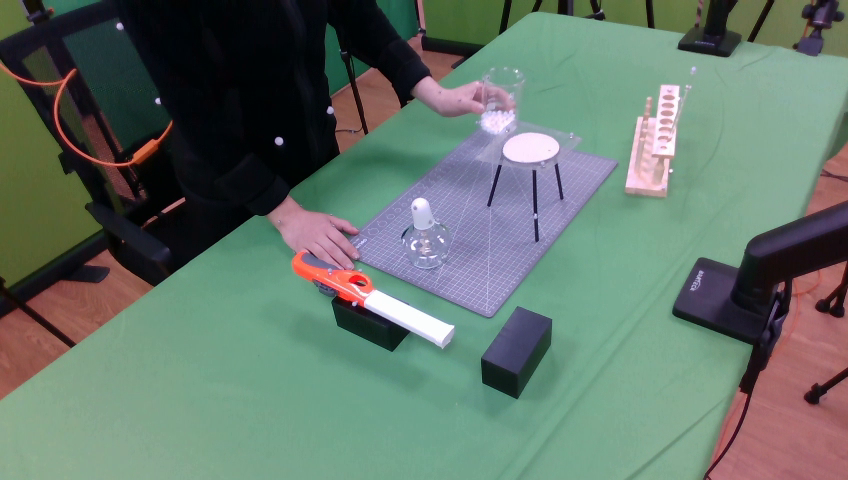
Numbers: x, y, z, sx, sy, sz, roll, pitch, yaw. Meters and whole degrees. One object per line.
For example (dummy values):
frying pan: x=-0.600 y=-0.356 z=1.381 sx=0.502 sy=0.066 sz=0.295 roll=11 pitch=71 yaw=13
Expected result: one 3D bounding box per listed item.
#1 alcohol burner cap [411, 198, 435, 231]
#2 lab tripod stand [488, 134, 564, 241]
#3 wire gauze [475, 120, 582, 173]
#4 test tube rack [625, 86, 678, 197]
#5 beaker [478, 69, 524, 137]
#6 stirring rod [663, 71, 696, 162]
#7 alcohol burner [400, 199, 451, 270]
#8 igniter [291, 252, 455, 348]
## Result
alcohol burner cap: x=-0.003 y=-0.040 z=0.893 sx=0.034 sy=0.048 sz=0.033 roll=-7 pitch=41 yaw=7
lab tripod stand: x=0.168 y=-0.092 z=0.972 sx=0.148 sy=0.132 sz=0.147 roll=-5 pitch=41 yaw=5
wire gauze: x=0.161 y=-0.143 z=0.928 sx=0.120 sy=0.011 sz=0.125 roll=20 pitch=47 yaw=31
test tube rack: x=0.412 y=-0.184 z=1.088 sx=0.066 sy=0.085 sz=0.242 roll=9 pitch=43 yaw=18
beaker: x=0.135 y=-0.238 z=1.057 sx=0.084 sy=0.100 sz=0.073 roll=-26 pitch=47 yaw=-28
stirring rod: x=0.410 y=-0.195 z=0.982 sx=0.014 sy=0.177 sz=0.006 roll=12 pitch=50 yaw=14
alcohol burner: x=0.000 y=-0.013 z=0.917 sx=0.078 sy=0.119 sz=0.077 roll=-5 pitch=41 yaw=5
igniter: x=-0.080 y=0.076 z=0.822 sx=0.274 sy=0.025 sz=0.057 roll=23 pitch=45 yaw=27
